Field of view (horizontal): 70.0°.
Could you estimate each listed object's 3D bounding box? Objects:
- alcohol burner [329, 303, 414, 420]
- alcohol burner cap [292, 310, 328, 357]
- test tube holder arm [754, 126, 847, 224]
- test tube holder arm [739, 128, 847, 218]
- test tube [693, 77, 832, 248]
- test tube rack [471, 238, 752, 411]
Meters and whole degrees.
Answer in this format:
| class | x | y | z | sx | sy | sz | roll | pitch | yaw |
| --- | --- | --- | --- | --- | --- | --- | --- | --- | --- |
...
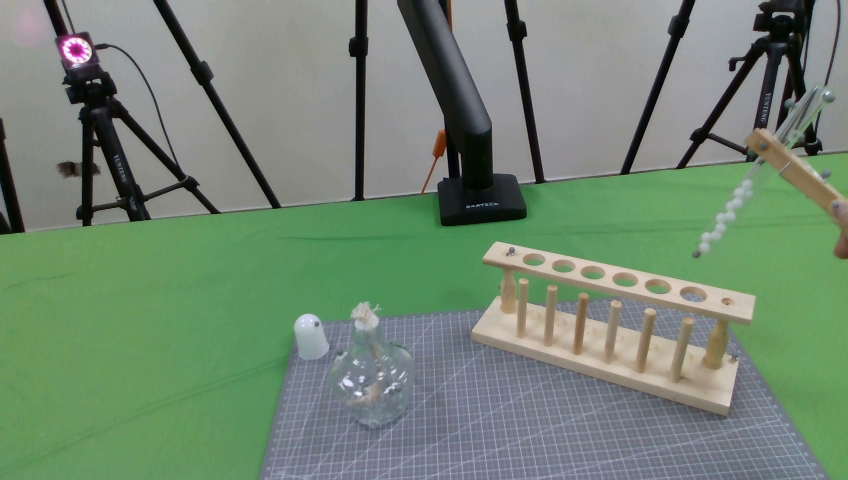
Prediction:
| class | x | y | z | sx | sy | sz | roll | pitch | yaw |
| --- | --- | --- | --- | --- | --- | --- | --- | --- | --- |
| alcohol burner | -0.048 | 0.102 | 0.536 | 0.078 | 0.120 | 0.077 | -3 | 34 | 2 |
| alcohol burner cap | -0.120 | 0.093 | 0.627 | 0.034 | 0.048 | 0.033 | -3 | 34 | 2 |
| test tube holder arm | 0.300 | -0.019 | 0.427 | 0.013 | 0.015 | 0.176 | -18 | 58 | -33 |
| test tube holder arm | 0.270 | -0.050 | 0.443 | 0.010 | 0.015 | 0.087 | -24 | 61 | -36 |
| test tube | 0.254 | -0.053 | 0.464 | 0.017 | 0.151 | 0.017 | 17 | 33 | -11 |
| test tube rack | 0.165 | 0.072 | 0.573 | 0.241 | 0.086 | 0.066 | 13 | 38 | 27 |
